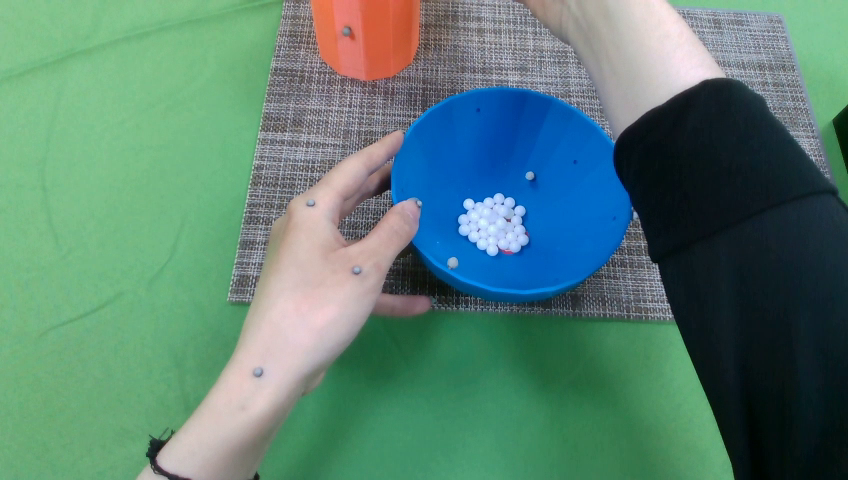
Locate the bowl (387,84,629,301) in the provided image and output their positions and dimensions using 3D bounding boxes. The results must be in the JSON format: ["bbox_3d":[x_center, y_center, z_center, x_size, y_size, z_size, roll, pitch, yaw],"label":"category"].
[{"bbox_3d":[0.050,-0.020,0.405,0.151,0.077,0.150,2,64,-3],"label":"bowl"}]

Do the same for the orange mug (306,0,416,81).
[{"bbox_3d":[-0.045,-0.206,0.479,0.083,0.101,0.125,14,68,4],"label":"orange mug"}]
